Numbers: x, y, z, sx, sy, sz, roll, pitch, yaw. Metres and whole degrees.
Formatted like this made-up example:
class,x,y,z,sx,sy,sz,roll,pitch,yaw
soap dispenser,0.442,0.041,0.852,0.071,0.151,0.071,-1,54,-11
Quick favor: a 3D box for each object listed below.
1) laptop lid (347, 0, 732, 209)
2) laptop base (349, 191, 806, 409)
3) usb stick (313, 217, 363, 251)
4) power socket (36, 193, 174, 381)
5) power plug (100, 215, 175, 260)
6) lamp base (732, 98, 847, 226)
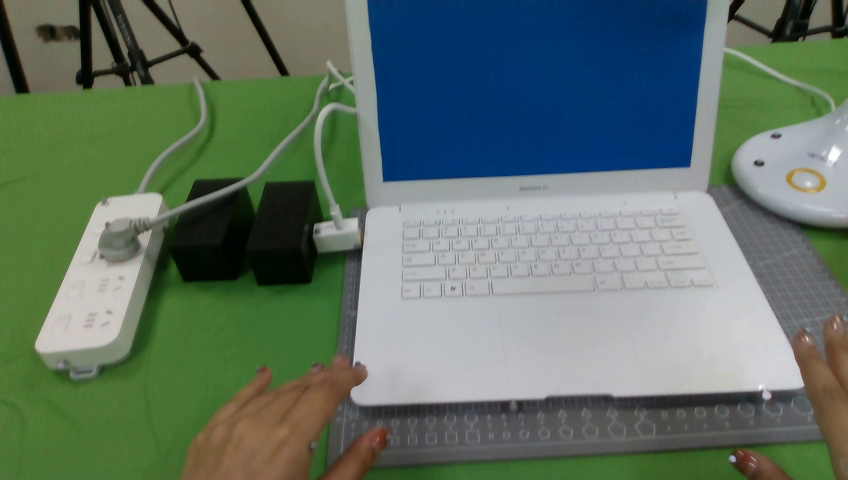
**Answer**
class,x,y,z,sx,sy,sz,roll,pitch,yaw
laptop lid,0.109,-0.145,0.586,0.357,0.243,0.013,-4,23,2
laptop base,0.117,0.044,0.547,0.354,0.023,0.233,-3,47,1
usb stick,-0.077,-0.006,0.596,0.059,0.027,0.021,-3,45,1
power socket,-0.296,0.031,0.580,0.072,0.033,0.224,-5,43,-3
power plug,-0.269,0.005,0.572,0.072,0.053,0.035,2,44,6
lamp base,0.414,-0.133,0.595,0.159,0.182,0.179,25,47,28
